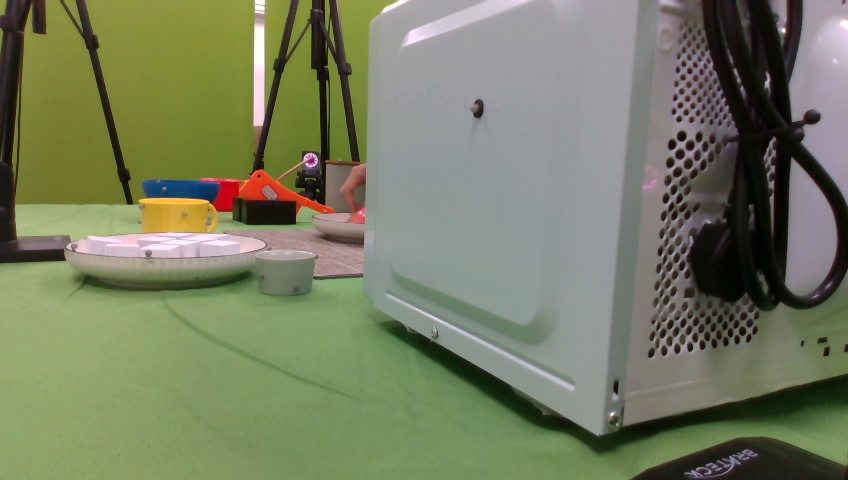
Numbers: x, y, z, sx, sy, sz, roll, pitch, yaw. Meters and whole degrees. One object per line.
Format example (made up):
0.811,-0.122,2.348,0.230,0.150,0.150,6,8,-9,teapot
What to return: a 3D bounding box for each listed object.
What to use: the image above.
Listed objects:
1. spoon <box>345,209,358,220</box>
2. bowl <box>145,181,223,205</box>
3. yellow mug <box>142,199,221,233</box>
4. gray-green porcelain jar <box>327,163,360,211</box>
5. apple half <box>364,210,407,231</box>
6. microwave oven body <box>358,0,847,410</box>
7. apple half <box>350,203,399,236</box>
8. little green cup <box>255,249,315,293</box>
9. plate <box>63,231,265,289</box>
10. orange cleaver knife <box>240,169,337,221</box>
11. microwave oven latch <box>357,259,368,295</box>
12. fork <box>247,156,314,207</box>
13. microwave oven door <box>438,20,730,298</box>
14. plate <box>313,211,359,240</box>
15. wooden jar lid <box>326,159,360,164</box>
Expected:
-0.123,-0.047,1.116,0.041,0.021,0.194,-5,17,18,spoon
-0.499,-0.081,1.261,0.151,0.077,0.151,2,7,0,bowl
-0.373,-0.030,0.948,0.099,0.064,0.131,6,8,30,yellow mug
-0.187,-0.125,1.490,0.106,0.126,0.106,2,8,0,gray-green porcelain jar
-0.068,-0.037,1.103,0.081,0.033,0.081,0,10,0,apple half
0.210,-0.051,0.471,0.444,0.260,0.324,-1,7,-28,microwave oven body
-0.082,-0.036,1.024,0.081,0.053,0.074,-3,11,-34,apple half
-0.144,0.032,0.627,0.061,0.038,0.061,3,6,0,little green cup
-0.288,0.021,0.687,0.208,0.039,0.207,2,8,0,plate
-0.287,-0.082,1.298,0.212,0.077,0.012,25,-2,-31,orange cleaver knife
-0.019,0.031,0.529,0.079,0.029,0.030,-1,7,-26,microwave oven latch
-0.360,-0.147,1.523,0.207,0.018,0.028,-43,15,-7,fork
0.181,-0.076,0.618,0.358,0.243,0.039,-2,8,-28,microwave oven door
-0.091,-0.025,1.063,0.209,0.038,0.209,2,7,0,plate
-0.185,-0.187,1.481,0.108,0.020,0.108,4,6,0,wooden jar lid
